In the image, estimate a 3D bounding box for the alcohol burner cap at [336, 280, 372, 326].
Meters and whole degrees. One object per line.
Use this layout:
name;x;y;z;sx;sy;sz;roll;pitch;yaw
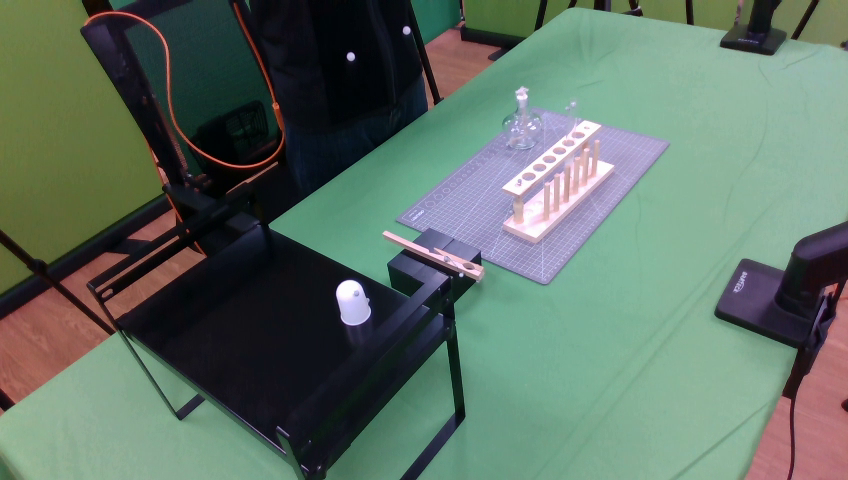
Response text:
alcohol burner cap;-0.073;0.061;0.619;0.034;0.048;0.033;-5;42;5

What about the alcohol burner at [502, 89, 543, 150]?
alcohol burner;0.186;-0.233;1.146;0.078;0.119;0.077;-5;42;5

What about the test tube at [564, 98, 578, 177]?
test tube;0.244;-0.166;1.004;0.017;0.151;0.017;-5;42;4

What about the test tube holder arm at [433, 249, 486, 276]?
test tube holder arm;0.048;0.033;0.858;0.087;0.015;0.010;19;51;30

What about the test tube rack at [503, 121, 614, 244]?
test tube rack;0.230;-0.101;1.006;0.066;0.085;0.243;26;50;35

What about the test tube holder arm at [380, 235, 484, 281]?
test tube holder arm;0.008;0.024;0.877;0.177;0.015;0.013;18;51;29
